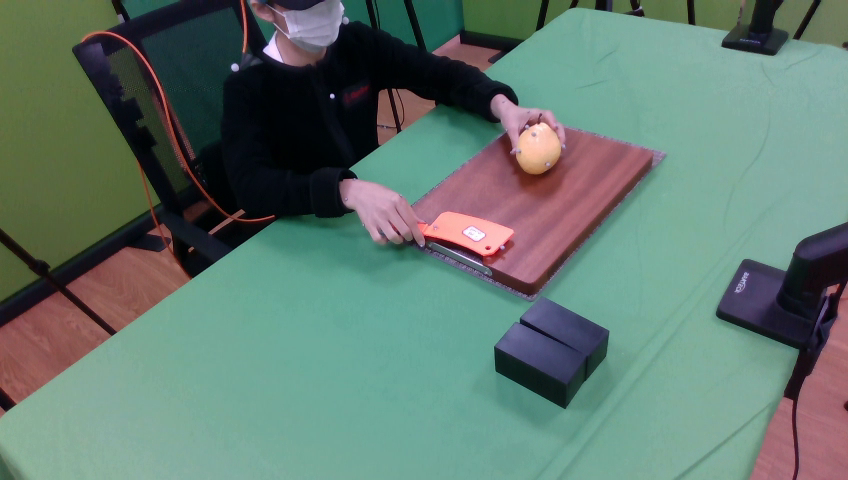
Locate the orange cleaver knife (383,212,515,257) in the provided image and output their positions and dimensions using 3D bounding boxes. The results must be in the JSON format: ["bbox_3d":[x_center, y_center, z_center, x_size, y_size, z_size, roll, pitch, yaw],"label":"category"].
[{"bbox_3d":[0.037,-0.018,0.950,0.210,0.012,0.077,13,46,26],"label":"orange cleaver knife"}]

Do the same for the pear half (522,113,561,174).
[{"bbox_3d":[0.203,-0.173,1.036,0.076,0.110,0.056,30,53,27],"label":"pear half"}]

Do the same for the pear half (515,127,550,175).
[{"bbox_3d":[0.178,-0.147,1.025,0.070,0.088,0.031,28,51,27],"label":"pear half"}]
